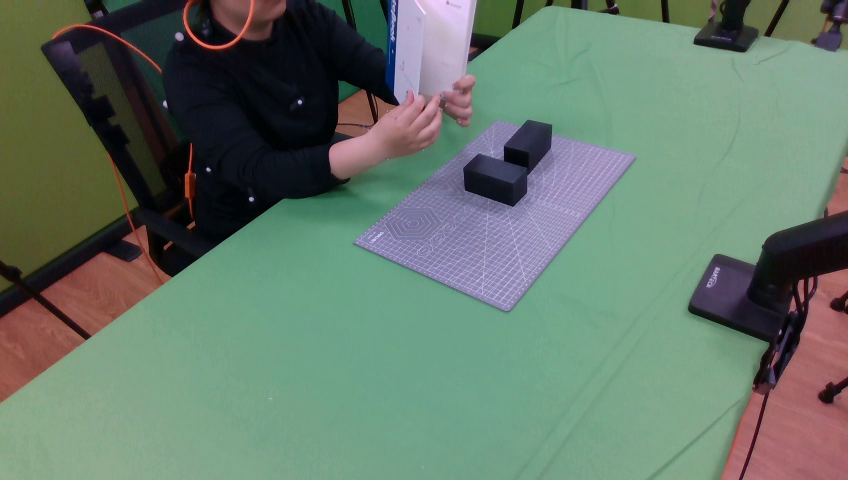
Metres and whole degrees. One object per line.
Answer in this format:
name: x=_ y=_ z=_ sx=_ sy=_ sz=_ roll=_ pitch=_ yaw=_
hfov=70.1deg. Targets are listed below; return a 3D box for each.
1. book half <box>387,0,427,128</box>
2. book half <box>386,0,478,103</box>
book half: x=-0.032 y=-0.309 z=0.999 sx=0.007 sy=0.210 sz=0.142 roll=-14 pitch=52 yaw=-18
book half: x=0.007 y=-0.340 z=1.031 sx=0.148 sy=0.211 sz=0.016 roll=22 pitch=50 yaw=12
